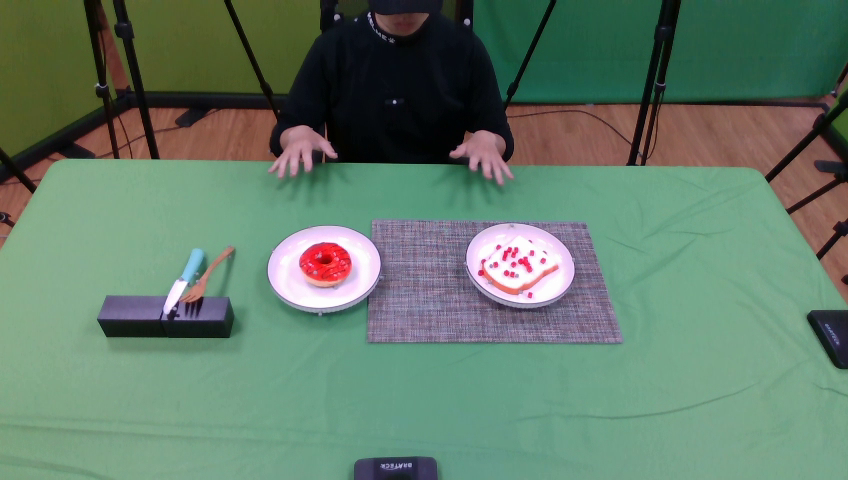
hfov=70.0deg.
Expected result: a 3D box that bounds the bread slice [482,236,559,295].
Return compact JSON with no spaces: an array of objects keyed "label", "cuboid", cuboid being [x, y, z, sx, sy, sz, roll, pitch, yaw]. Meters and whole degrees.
[{"label":"bread slice","cuboid":[0.177,0.050,1.148,0.131,0.019,0.104,-31,55,-31]}]

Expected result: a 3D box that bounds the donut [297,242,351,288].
[{"label":"donut","cuboid":[-0.182,0.045,1.112,0.099,0.048,0.098,4,45,-4]}]

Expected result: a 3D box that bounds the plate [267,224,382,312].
[{"label":"plate","cuboid":[-0.182,0.055,1.120,0.208,0.039,0.206,2,46,-2]}]

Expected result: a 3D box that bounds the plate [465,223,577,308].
[{"label":"plate","cuboid":[0.180,0.051,1.144,0.209,0.038,0.208,2,45,-2]}]

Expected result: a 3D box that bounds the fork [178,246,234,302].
[{"label":"fork","cuboid":[-0.380,0.057,1.075,0.028,0.019,0.206,2,28,6]}]

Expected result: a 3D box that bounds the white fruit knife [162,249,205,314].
[{"label":"white fruit knife","cuboid":[-0.420,0.070,1.063,0.027,0.016,0.206,-2,29,-2]}]
